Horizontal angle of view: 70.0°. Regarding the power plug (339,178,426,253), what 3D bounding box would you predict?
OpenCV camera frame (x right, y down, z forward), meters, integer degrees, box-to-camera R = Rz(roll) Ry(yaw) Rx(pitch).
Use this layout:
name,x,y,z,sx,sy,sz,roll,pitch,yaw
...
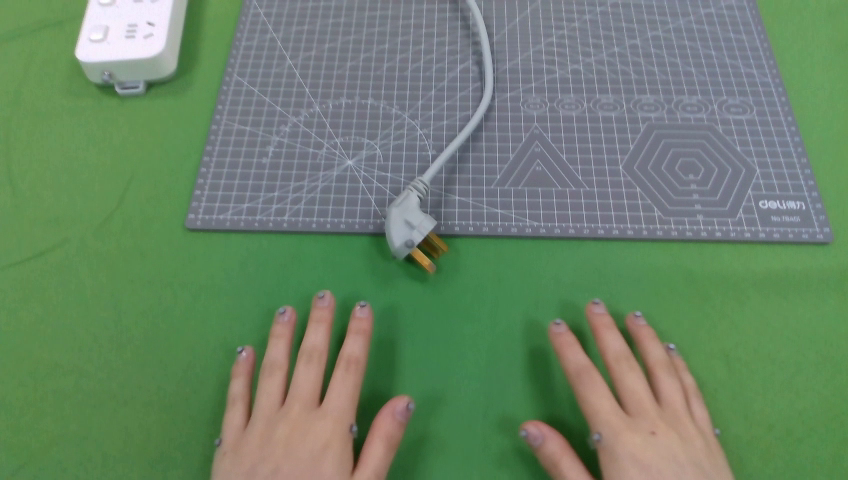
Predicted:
name,x,y,z,sx,sy,sz,roll,pitch,yaw
power plug,-0.026,-0.023,0.396,0.035,0.073,0.052,-36,25,-7

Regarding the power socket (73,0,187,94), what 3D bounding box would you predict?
name,x,y,z,sx,sy,sz,roll,pitch,yaw
power socket,-0.242,-0.222,0.521,0.072,0.033,0.224,-3,61,-3
